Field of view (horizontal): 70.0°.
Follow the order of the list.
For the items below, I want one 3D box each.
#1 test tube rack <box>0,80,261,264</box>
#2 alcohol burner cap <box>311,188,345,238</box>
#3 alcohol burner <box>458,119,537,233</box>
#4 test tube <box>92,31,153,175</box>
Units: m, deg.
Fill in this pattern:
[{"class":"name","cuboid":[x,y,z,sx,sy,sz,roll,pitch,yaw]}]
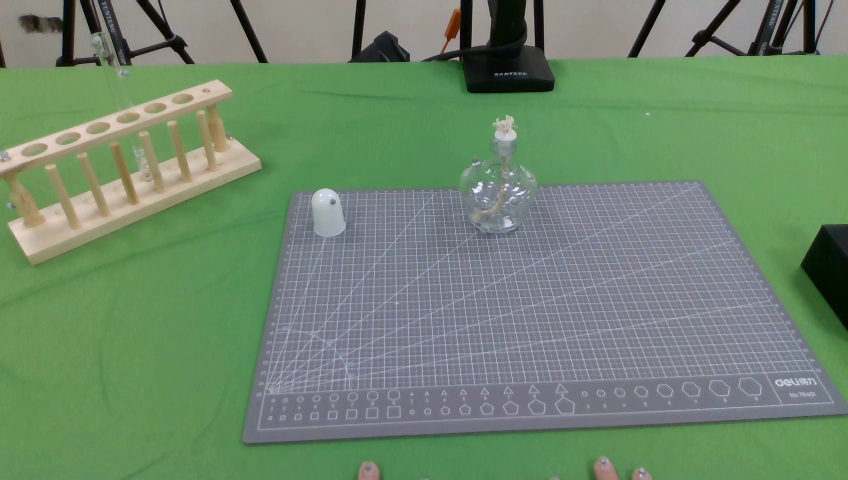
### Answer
[{"class":"test tube rack","cuboid":[-0.296,-0.076,0.617,0.242,0.086,0.066,-30,50,-30]},{"class":"alcohol burner cap","cuboid":[-0.095,-0.029,0.595,0.034,0.048,0.033,1,42,0]},{"class":"alcohol burner","cuboid":[0.073,-0.065,0.583,0.078,0.120,0.077,1,43,-1]},{"class":"test tube","cuboid":[-0.296,-0.131,0.603,0.017,0.151,0.017,-1,37,1]}]
